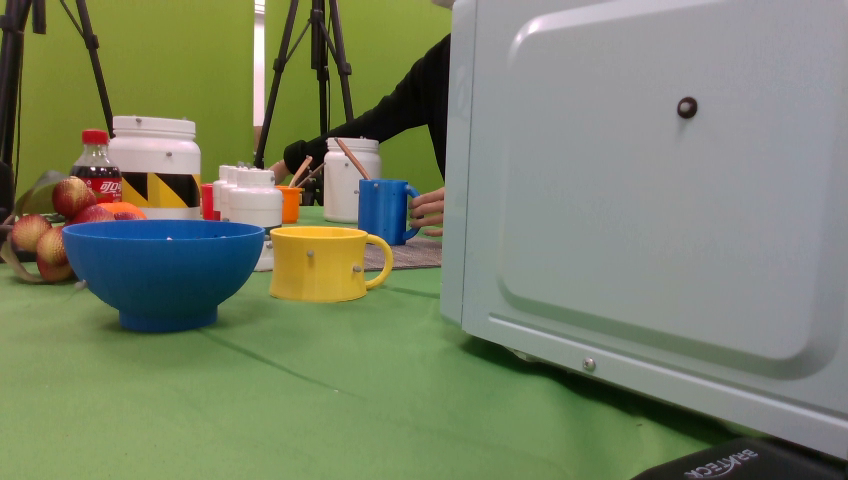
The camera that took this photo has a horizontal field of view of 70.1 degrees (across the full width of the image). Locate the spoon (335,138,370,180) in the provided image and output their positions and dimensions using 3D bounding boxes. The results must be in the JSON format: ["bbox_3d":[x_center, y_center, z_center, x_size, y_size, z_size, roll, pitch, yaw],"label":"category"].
[{"bbox_3d":[-0.095,-0.093,1.019,0.021,0.193,0.042,-32,-4,21],"label":"spoon"}]

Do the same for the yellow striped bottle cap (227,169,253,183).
[{"bbox_3d":[-0.243,-0.087,0.818,0.044,0.018,0.044,3,6,0],"label":"yellow striped bottle cap"}]

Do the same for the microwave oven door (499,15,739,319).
[{"bbox_3d":[0.216,-0.065,0.602,0.358,0.243,0.039,-4,11,-41],"label":"microwave oven door"}]

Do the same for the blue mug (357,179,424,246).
[{"bbox_3d":[-0.055,-0.046,1.005,0.116,0.106,0.082,5,8,20],"label":"blue mug"}]

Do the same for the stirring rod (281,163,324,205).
[{"bbox_3d":[-0.278,-0.105,1.293,0.176,0.006,0.014,-47,25,-18],"label":"stirring rod"}]

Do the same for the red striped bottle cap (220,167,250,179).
[{"bbox_3d":[-0.281,-0.100,0.901,0.044,0.017,0.044,-1,4,0],"label":"red striped bottle cap"}]

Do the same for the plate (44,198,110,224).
[{"bbox_3d":[-0.617,-0.056,1.179,0.209,0.038,0.209,3,7,0],"label":"plate"}]

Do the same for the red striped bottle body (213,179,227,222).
[{"bbox_3d":[-0.284,-0.048,0.909,0.063,0.119,0.063,3,10,0],"label":"red striped bottle body"}]

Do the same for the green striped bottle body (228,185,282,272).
[{"bbox_3d":[-0.208,-0.023,0.745,0.063,0.119,0.063,2,7,0],"label":"green striped bottle body"}]

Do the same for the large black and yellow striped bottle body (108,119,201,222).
[{"bbox_3d":[-0.412,-0.088,0.930,0.131,0.184,0.130,3,7,0],"label":"large black and yellow striped bottle body"}]

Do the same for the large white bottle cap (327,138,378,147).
[{"bbox_3d":[-0.160,-0.218,1.357,0.115,0.018,0.115,2,7,0],"label":"large white bottle cap"}]

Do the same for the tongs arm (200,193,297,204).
[{"bbox_3d":[-0.476,-0.097,1.509,0.028,0.028,0.389,2,7,39],"label":"tongs arm"}]

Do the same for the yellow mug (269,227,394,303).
[{"bbox_3d":[-0.094,0.023,0.629,0.131,0.064,0.099,0,7,-22],"label":"yellow mug"}]

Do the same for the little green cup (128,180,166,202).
[{"bbox_3d":[-0.485,-0.087,1.062,0.061,0.038,0.061,-1,6,0],"label":"little green cup"}]

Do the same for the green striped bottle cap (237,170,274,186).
[{"bbox_3d":[-0.205,-0.075,0.737,0.044,0.020,0.044,2,4,0],"label":"green striped bottle cap"}]

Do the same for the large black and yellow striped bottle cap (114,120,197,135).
[{"bbox_3d":[-0.407,-0.171,0.920,0.115,0.019,0.115,2,9,0],"label":"large black and yellow striped bottle cap"}]

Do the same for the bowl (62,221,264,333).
[{"bbox_3d":[-0.209,0.029,0.496,0.151,0.077,0.151,2,7,0],"label":"bowl"}]

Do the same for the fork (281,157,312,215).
[{"bbox_3d":[-0.289,-0.116,1.321,0.028,0.019,0.207,7,52,18],"label":"fork"}]

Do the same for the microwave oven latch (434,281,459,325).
[{"bbox_3d":[0.044,0.045,0.470,0.079,0.029,0.030,-2,8,-39],"label":"microwave oven latch"}]

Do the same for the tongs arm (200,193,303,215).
[{"bbox_3d":[-0.418,-0.090,1.474,0.050,0.026,0.386,4,9,29],"label":"tongs arm"}]

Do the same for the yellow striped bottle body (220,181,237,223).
[{"bbox_3d":[-0.246,-0.036,0.825,0.063,0.120,0.063,3,8,0],"label":"yellow striped bottle body"}]

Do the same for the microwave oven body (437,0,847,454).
[{"bbox_3d":[0.279,-0.040,0.464,0.444,0.260,0.324,-3,9,-41],"label":"microwave oven body"}]

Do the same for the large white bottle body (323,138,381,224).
[{"bbox_3d":[-0.163,-0.135,1.368,0.131,0.184,0.130,2,7,0],"label":"large white bottle body"}]
